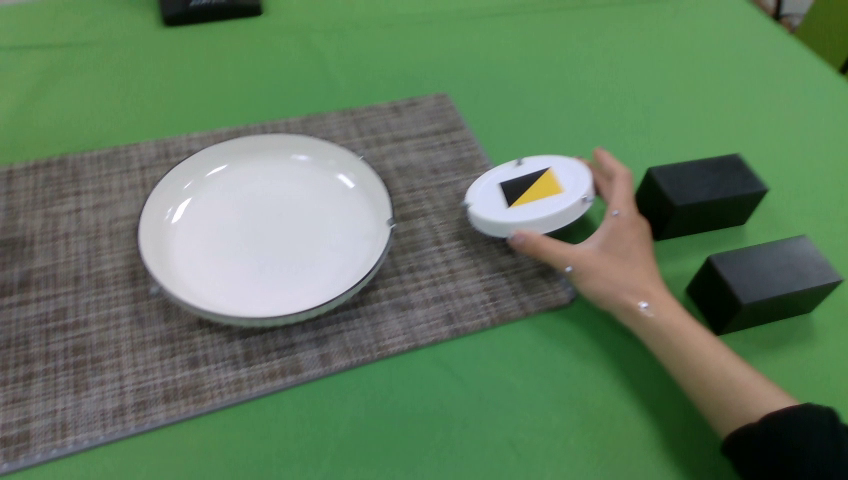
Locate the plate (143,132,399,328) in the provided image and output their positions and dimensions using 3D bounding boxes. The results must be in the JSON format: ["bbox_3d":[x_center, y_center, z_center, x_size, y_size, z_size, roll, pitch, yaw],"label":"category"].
[{"bbox_3d":[-0.125,-0.011,0.518,0.208,0.039,0.205,3,51,-3],"label":"plate"}]

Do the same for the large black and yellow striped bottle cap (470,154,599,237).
[{"bbox_3d":[0.099,-0.043,0.548,0.115,0.019,0.114,-12,34,9],"label":"large black and yellow striped bottle cap"}]
